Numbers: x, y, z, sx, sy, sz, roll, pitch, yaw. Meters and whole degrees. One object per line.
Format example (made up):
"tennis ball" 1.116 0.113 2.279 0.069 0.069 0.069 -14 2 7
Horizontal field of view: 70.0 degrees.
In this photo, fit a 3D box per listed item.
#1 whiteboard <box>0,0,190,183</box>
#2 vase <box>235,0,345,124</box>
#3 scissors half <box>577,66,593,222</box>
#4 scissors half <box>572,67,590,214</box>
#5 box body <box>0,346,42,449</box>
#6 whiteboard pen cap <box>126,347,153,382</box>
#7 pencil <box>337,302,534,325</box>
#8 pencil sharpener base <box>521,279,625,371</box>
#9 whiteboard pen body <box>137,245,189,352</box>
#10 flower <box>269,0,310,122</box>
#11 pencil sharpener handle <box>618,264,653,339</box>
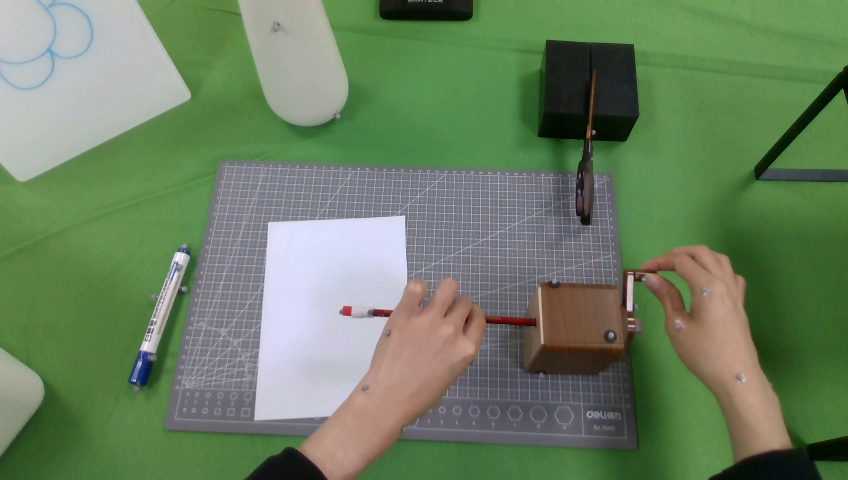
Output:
"whiteboard" -0.436 -0.257 0.639 0.217 0.309 0.142 -30 50 -11
"vase" -0.143 -0.213 0.642 0.098 0.201 0.097 -1 65 2
"scissors half" 0.178 -0.106 0.659 0.012 0.040 0.175 1 85 27
"scissors half" 0.170 -0.110 0.641 0.013 0.040 0.174 2 68 22
"box body" -0.569 0.128 0.519 0.363 0.161 0.253 27 70 11
"whiteboard pen cap" -0.278 0.122 0.595 0.018 0.018 0.033 8 62 4
"pencil" 0.019 0.067 0.539 0.194 0.012 0.012 4 66 2
"pencil sharpener base" 0.135 0.082 0.561 0.077 0.108 0.061 1 66 1
"whiteboard pen body" -0.270 0.069 0.620 0.017 0.017 0.140 8 65 5
"flower" -0.151 -0.259 0.571 0.044 0.365 0.038 -5 49 2
"pencil sharpener handle" 0.186 0.055 0.535 0.030 0.036 0.067 1 88 1
